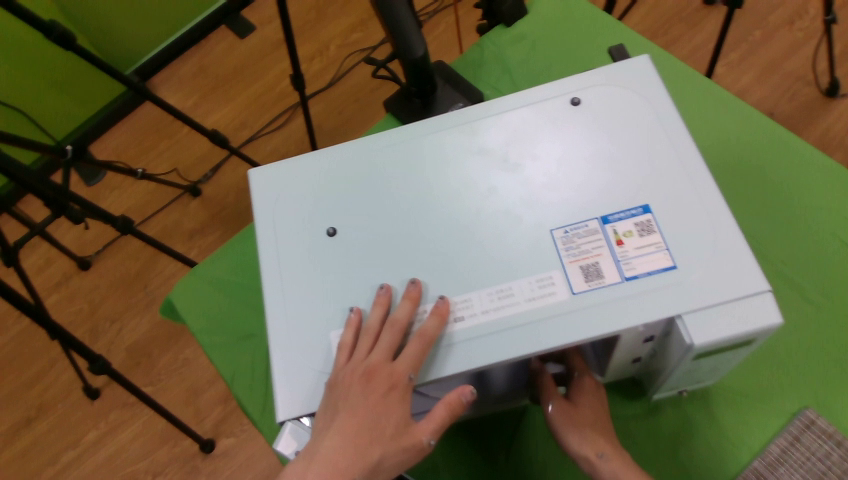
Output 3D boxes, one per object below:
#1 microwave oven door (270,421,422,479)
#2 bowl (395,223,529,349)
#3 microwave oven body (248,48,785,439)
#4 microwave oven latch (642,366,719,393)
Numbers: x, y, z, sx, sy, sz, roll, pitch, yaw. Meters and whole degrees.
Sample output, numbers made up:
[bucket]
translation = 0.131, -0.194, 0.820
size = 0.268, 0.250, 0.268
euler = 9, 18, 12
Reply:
[microwave oven door]
translation = 0.044, 0.279, 0.564
size = 0.353, 0.246, 0.039
euler = 25, 72, 20
[bowl]
translation = 0.047, 0.064, 0.707
size = 0.151, 0.077, 0.150
euler = -4, 61, 7
[microwave oven body]
translation = 0.074, 0.032, 0.679
size = 0.442, 0.262, 0.323
euler = -16, 64, 3
[microwave oven latch]
translation = 0.293, 0.152, 0.693
size = 0.079, 0.030, 0.030
euler = -14, 64, 4
